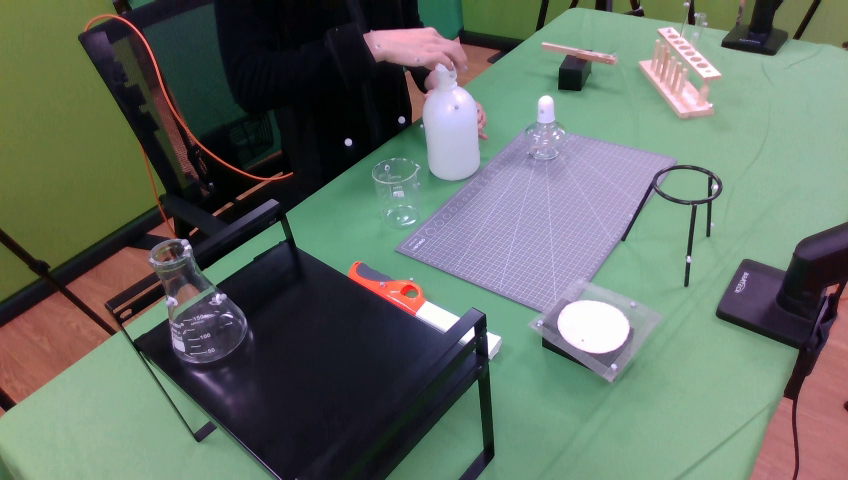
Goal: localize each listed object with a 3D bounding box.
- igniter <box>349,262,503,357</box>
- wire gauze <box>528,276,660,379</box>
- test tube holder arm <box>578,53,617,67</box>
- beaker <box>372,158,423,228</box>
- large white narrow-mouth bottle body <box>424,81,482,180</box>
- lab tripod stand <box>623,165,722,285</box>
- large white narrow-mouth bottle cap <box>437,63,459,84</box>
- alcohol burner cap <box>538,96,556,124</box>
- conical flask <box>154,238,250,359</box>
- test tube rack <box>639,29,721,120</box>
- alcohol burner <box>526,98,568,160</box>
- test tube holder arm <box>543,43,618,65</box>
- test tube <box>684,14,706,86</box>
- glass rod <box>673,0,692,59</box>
[{"bbox_3d":[-0.008,0.093,0.870,0.274,0.025,0.057,24,60,33],"label":"igniter"},{"bbox_3d":[0.214,0.103,0.763,0.124,0.011,0.122,30,52,35],"label":"wire gauze"},{"bbox_3d":[0.376,-0.393,1.314,0.087,0.015,0.010,26,51,32],"label":"test tube holder arm"},{"bbox_3d":[-0.039,-0.078,1.022,0.084,0.101,0.073,-16,41,-11],"label":"beaker"},{"bbox_3d":[0.051,-0.212,1.090,0.102,0.195,0.101,-4,41,4],"label":"large white narrow-mouth bottle body"},{"bbox_3d":[0.365,-0.030,0.874,0.148,0.132,0.147,-6,41,6],"label":"lab tripod stand"},{"bbox_3d":[0.041,-0.283,1.027,0.038,0.024,0.037,-4,41,4],"label":"large white narrow-mouth bottle cap"},{"bbox_3d":[0.222,-0.237,1.095,0.034,0.048,0.033,-7,34,5],"label":"alcohol burner cap"},{"bbox_3d":[-0.225,0.055,0.597,0.075,0.122,0.075,-5,41,4],"label":"conical flask"},{"bbox_3d":[0.527,-0.351,1.262,0.067,0.085,0.241,-8,40,1],"label":"test tube rack"},{"bbox_3d":[0.228,-0.210,1.118,0.078,0.119,0.077,-5,43,5],"label":"alcohol burner"},{"bbox_3d":[0.345,-0.413,1.341,0.177,0.015,0.013,25,50,31],"label":"test tube holder arm"},{"bbox_3d":[0.541,-0.378,1.215,0.017,0.151,0.017,-2,44,3],"label":"test tube"},{"bbox_3d":[0.537,-0.437,1.257,0.008,0.200,0.008,0,39,1],"label":"glass rod"}]
